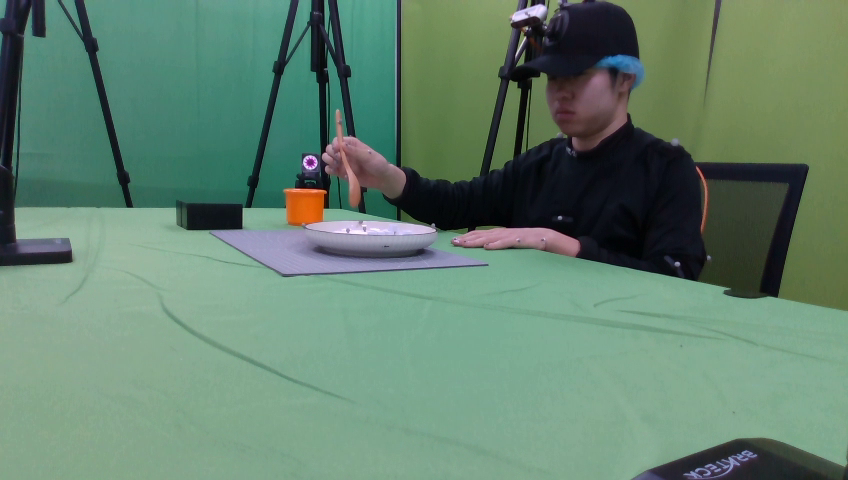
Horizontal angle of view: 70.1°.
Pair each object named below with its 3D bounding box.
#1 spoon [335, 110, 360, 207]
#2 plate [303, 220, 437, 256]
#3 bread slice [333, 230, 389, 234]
[{"bbox_3d":[-0.138,-0.146,1.054,0.021,0.193,0.042,-21,-21,11],"label":"spoon"},{"bbox_3d":[-0.084,-0.003,0.951,0.209,0.038,0.209,3,7,0],"label":"plate"},{"bbox_3d":[-0.088,0.000,0.947,0.105,0.019,0.131,-4,10,-44],"label":"bread slice"}]
